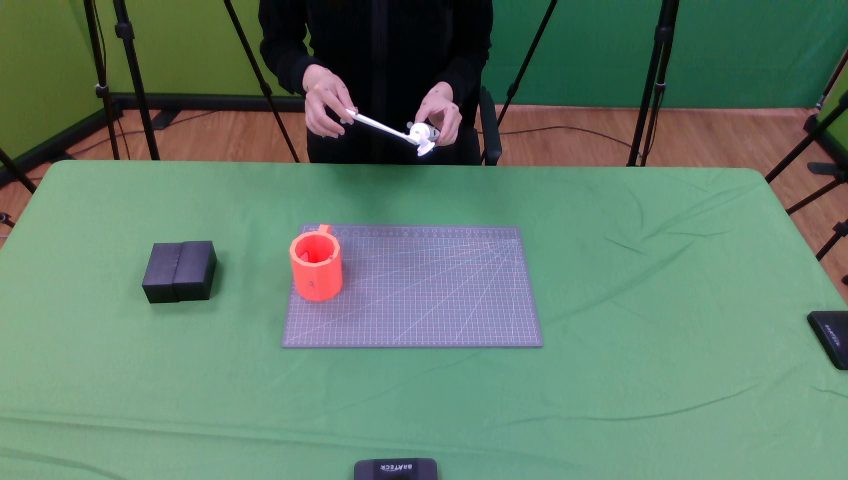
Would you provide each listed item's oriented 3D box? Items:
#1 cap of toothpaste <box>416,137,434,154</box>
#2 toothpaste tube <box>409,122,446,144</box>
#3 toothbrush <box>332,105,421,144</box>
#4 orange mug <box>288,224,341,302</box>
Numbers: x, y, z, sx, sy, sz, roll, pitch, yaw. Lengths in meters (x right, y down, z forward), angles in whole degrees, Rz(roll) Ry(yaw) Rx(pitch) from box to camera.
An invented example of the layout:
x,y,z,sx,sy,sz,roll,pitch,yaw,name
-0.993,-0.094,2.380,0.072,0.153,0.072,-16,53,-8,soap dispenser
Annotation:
x,y,z,sx,sy,sz,roll,pitch,yaw,name
0.001,-0.156,0.997,0.037,0.011,0.037,-33,24,17,cap of toothpaste
0.005,-0.193,1.079,0.055,0.034,0.165,34,17,1,toothpaste tube
-0.082,-0.198,1.017,0.181,0.014,0.016,25,75,24,toothbrush
-0.192,0.034,1.094,0.083,0.101,0.125,7,50,2,orange mug
